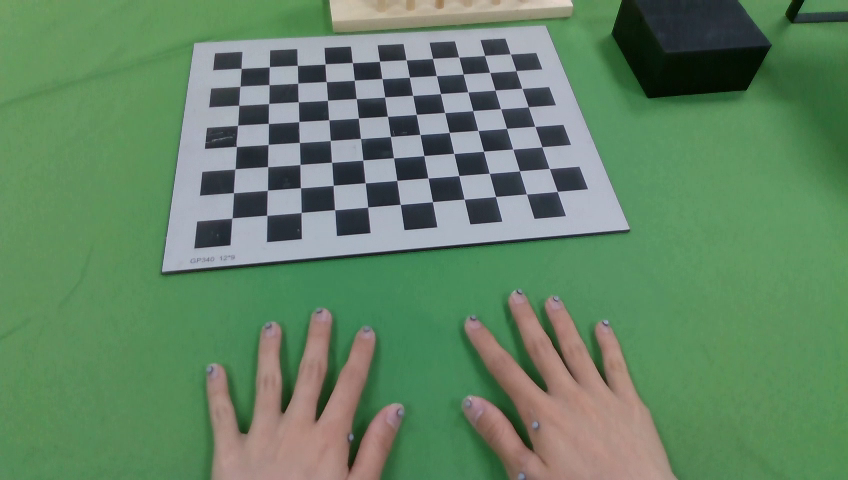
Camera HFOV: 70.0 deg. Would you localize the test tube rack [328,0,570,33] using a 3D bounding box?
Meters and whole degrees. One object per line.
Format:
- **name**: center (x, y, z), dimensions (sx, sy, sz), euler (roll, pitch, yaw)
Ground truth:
- **test tube rack**: center (0.025, -0.267, 0.593), dimensions (0.243, 0.086, 0.066), euler (-6, 54, -7)
